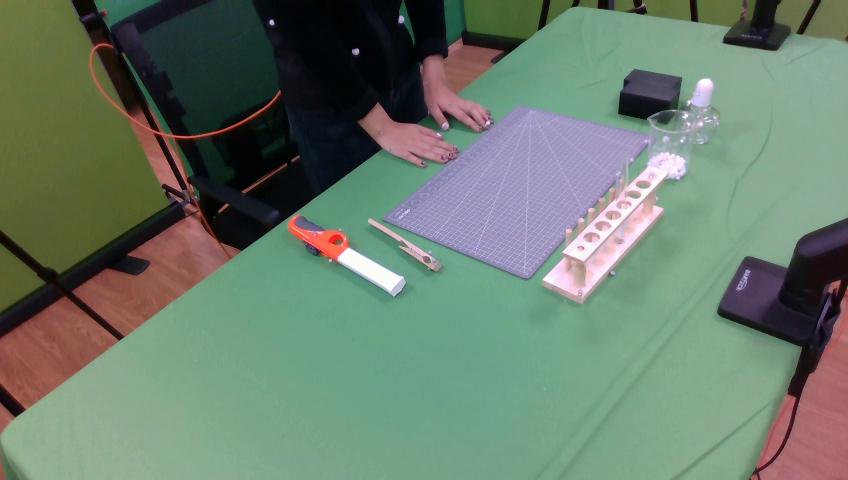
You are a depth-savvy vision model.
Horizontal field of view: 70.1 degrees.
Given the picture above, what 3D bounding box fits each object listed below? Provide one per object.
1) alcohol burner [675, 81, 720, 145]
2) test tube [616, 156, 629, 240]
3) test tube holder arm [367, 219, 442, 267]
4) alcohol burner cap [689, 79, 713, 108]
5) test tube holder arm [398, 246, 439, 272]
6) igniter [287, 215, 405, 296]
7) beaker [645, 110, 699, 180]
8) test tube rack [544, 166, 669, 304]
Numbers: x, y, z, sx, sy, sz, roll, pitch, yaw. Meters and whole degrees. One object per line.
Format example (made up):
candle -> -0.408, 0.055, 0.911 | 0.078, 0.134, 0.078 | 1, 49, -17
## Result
alcohol burner -> 0.497, -0.234, 1.094 | 0.078, 0.119, 0.077 | -5, 43, 5
test tube -> 0.284, -0.057, 0.869 | 0.017, 0.151, 0.017 | -8, 42, 8
test tube holder arm -> -0.035, 0.003, 0.985 | 0.177, 0.015, 0.013 | 32, 88, 40
alcohol burner cap -> 0.492, -0.262, 1.071 | 0.034, 0.048, 0.033 | -2, 45, 2
test tube holder arm -> -0.009, 0.027, 0.956 | 0.087, 0.015, 0.010 | 34, 89, 40
igniter -> -0.137, 0.019, 0.980 | 0.274, 0.025, 0.057 | 28, 62, 36
beaker -> 0.417, -0.160, 1.033 | 0.083, 0.101, 0.074 | 25, 51, 34
test tube rack -> 0.274, -0.018, 0.903 | 0.066, 0.085, 0.243 | 26, 51, 35
